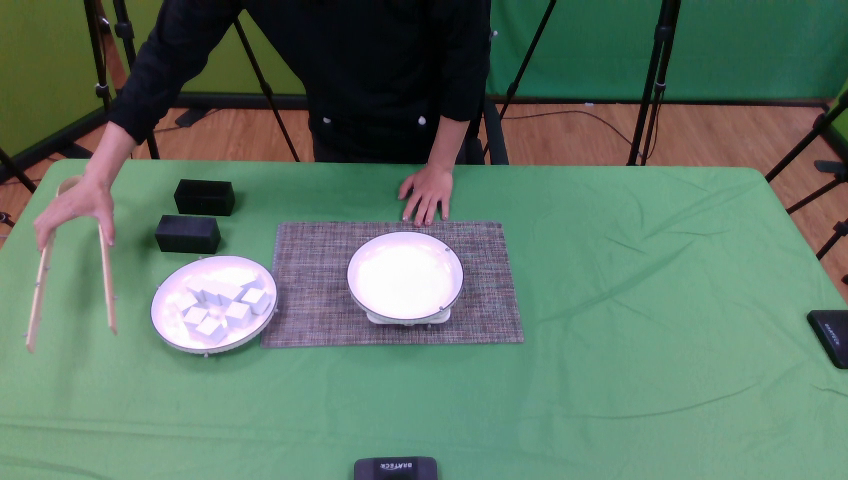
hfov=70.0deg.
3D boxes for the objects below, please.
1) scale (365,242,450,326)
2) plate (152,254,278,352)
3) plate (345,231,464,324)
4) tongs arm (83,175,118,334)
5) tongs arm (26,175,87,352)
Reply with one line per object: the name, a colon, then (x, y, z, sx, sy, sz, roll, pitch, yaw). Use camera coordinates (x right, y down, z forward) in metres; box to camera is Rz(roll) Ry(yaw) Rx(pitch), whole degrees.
scale: (-0.032, 0.071, 1.113, 0.149, 0.032, 0.199, 0, 46, -4)
plate: (-0.357, 0.111, 1.052, 0.208, 0.039, 0.206, 2, 46, -2)
plate: (-0.034, 0.069, 1.069, 0.209, 0.038, 0.208, 2, 46, -2)
tongs arm: (-0.548, 0.010, 1.030, 0.028, 0.028, 0.385, -20, 50, -15)
tongs arm: (-0.608, 0.022, 1.013, 0.051, 0.026, 0.382, -11, 47, -13)
